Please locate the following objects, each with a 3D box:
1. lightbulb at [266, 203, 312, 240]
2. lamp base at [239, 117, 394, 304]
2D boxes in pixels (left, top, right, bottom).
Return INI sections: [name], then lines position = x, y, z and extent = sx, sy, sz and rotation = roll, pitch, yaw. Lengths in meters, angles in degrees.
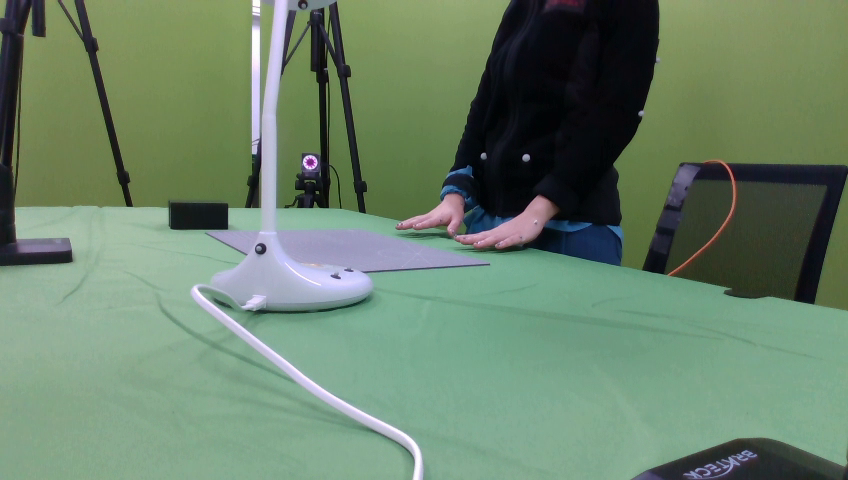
[lightbulb]
position = -0.224, -0.026, 1.032
extent = 0.059, 0.059, 0.108
rotation = 8, 25, 38
[lamp base]
position = -0.106, -0.034, 0.619
extent = 0.161, 0.180, 0.178
rotation = 0, 10, -17
